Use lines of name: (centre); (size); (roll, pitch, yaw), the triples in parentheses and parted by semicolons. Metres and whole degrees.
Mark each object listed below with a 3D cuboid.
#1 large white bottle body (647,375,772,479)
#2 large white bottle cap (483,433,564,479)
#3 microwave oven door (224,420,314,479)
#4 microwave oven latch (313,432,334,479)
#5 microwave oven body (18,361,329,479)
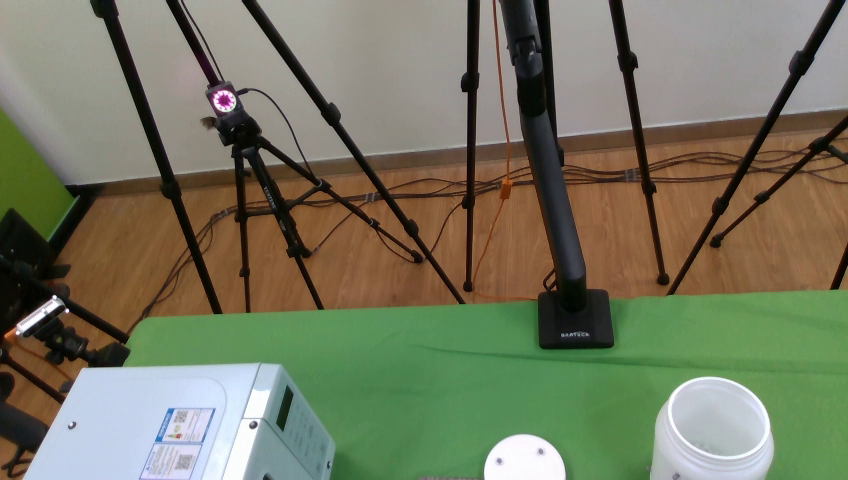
large white bottle body: (0.348, 0.263, 0.749); (0.130, 0.186, 0.129); (-8, 42, 8)
large white bottle cap: (0.141, 0.331, 0.861); (0.115, 0.018, 0.113); (-8, 45, 8)
microwave oven door: (-0.201, 0.422, 0.692); (0.039, 0.246, 0.352); (-4, 46, 12)
microwave oven latch: (-0.157, 0.331, 0.911); (0.030, 0.030, 0.078); (-3, 47, 12)
microwave oven body: (-0.338, 0.405, 0.754); (0.325, 0.263, 0.437); (-4, 47, 12)
